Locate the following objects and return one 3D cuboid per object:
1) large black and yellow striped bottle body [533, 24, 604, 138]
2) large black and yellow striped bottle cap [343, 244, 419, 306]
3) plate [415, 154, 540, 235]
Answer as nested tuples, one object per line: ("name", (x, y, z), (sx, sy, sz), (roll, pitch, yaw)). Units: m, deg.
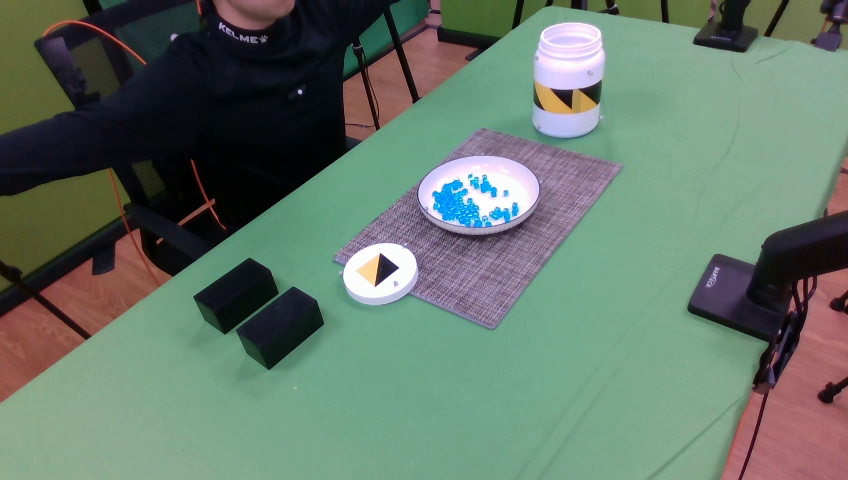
("large black and yellow striped bottle body", (0.275, -0.304, 1.160), (0.131, 0.185, 0.130), (-4, 41, 4))
("large black and yellow striped bottle cap", (-0.066, 0.051, 0.918), (0.115, 0.019, 0.114), (-6, 43, 6))
("plate", (0.090, -0.074, 1.025), (0.207, 0.039, 0.206), (-4, 41, 4))
